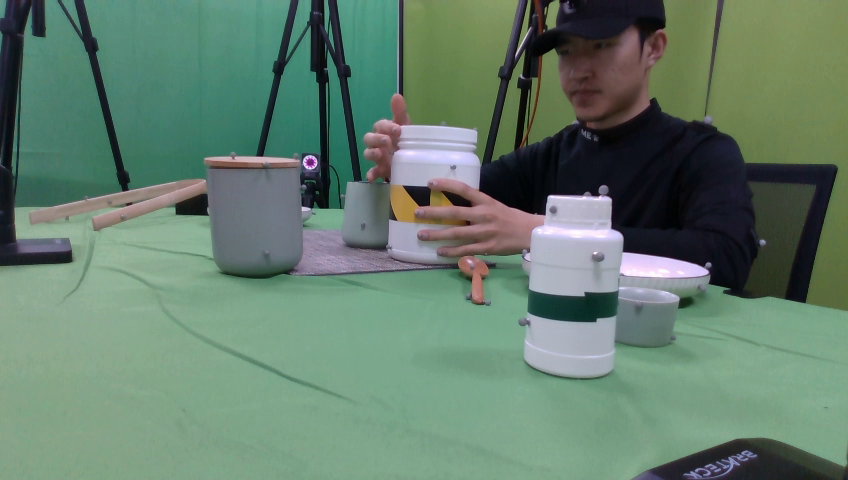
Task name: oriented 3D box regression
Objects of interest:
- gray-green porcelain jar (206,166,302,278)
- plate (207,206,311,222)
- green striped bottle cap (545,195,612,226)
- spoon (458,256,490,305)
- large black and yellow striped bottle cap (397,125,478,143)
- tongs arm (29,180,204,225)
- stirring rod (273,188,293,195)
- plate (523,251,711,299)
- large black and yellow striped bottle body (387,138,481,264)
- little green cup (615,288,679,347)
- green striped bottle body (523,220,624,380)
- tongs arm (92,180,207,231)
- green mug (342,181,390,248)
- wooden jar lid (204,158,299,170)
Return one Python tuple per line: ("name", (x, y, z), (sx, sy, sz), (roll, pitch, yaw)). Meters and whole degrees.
("gray-green porcelain jar", (-0.201, -0.024, 0.725), (0.106, 0.126, 0.106), (-1, 9, 1))
("plate", (-0.342, -0.050, 1.259), (0.208, 0.039, 0.207), (3, 7, 0))
("green striped bottle cap", (0.105, -0.020, 0.414), (0.044, 0.020, 0.044), (2, 4, 0))
("spoon", (0.059, 0.044, 0.695), (0.041, 0.021, 0.194), (17, 7, 1))
("large black and yellow striped bottle cap", (0.019, -0.149, 0.856), (0.115, 0.019, 0.115), (3, 6, 0))
("tongs arm", (-0.609, -0.083, 1.245), (0.050, 0.026, 0.386), (5, 16, 23))
("stirring rod", (-0.353, -0.122, 1.518), (0.006, 0.014, 0.176), (1, 7, 2))
("plate", (0.219, 0.041, 0.706), (0.209, 0.038, 0.209), (2, 7, 0))
("large black and yellow striped bottle body", (0.014, -0.065, 0.868), (0.131, 0.184, 0.130), (3, 7, 0))
("little green cup", (0.180, 0.064, 0.506), (0.061, 0.038, 0.061), (1, 8, 0))
("green striped bottle body", (0.104, 0.031, 0.422), (0.063, 0.119, 0.063), (2, 8, 0))
("tongs arm", (-0.534, -0.076, 1.221), (0.028, 0.028, 0.388), (-2, 15, 12))
("green mug", (-0.089, -0.045, 0.996), (0.093, 0.105, 0.125), (0, 8, -9))
("wooden jar lid", (-0.202, -0.086, 0.714), (0.108, 0.020, 0.108), (3, 11, 0))
